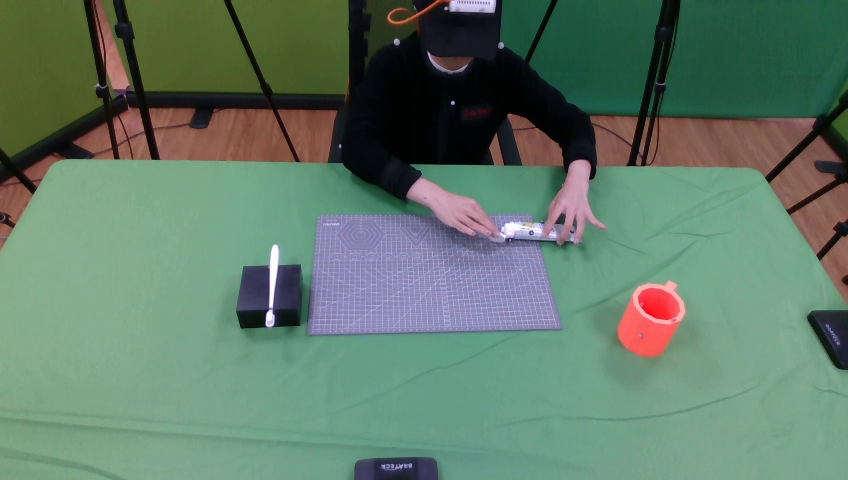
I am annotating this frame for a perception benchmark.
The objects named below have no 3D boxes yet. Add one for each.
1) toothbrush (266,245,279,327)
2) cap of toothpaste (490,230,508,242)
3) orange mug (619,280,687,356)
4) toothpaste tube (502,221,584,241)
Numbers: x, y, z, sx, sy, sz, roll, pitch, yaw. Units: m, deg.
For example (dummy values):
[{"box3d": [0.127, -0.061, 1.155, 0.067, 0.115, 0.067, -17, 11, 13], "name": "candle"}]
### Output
[{"box3d": [-0.261, 0.073, 1.042, 0.014, 0.017, 0.180, -6, 46, -3], "name": "toothbrush"}, {"box3d": [0.149, -0.008, 1.198, 0.037, 0.037, 0.011, 12, 64, 8], "name": "cap of toothpaste"}, {"box3d": [0.401, 0.125, 1.045, 0.083, 0.101, 0.126, 30, 56, 24], "name": "orange mug"}, {"box3d": [0.238, -0.017, 1.220, 0.165, 0.035, 0.054, 1, 44, -11], "name": "toothpaste tube"}]
